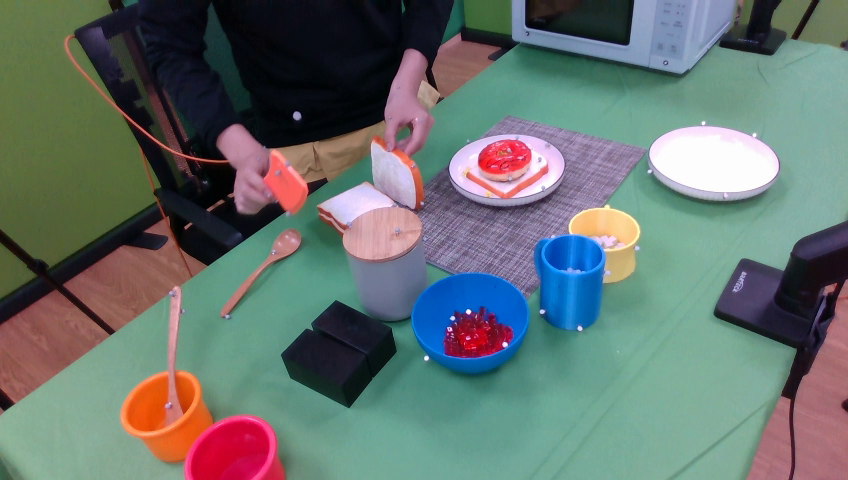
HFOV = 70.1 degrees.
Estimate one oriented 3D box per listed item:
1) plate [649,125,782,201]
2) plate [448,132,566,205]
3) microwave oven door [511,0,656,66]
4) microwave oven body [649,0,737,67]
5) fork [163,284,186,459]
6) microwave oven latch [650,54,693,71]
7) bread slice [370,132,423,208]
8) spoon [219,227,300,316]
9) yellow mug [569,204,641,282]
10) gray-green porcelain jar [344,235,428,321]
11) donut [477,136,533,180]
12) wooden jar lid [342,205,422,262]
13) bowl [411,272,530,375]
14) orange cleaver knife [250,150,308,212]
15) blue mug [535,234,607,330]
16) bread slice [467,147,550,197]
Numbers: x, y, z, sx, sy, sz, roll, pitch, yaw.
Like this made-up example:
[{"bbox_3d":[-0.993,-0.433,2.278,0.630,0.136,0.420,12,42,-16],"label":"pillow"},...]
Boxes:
[{"bbox_3d":[0.493,-0.127,1.036,0.207,0.039,0.206,-4,41,4],"label":"plate"},{"bbox_3d":[0.147,-0.124,1.075,0.209,0.038,0.208,-4,41,4],"label":"plate"},{"bbox_3d":[0.351,-0.539,1.348,0.353,0.245,0.039,24,50,31],"label":"microwave oven door"},{"bbox_3d":[0.475,-0.602,1.411,0.438,0.261,0.327,23,50,32],"label":"microwave oven body"},{"bbox_3d":[-0.302,0.157,0.733,0.028,0.019,0.207,-3,84,15],"label":"fork"},{"bbox_3d":[0.531,-0.386,1.301,0.078,0.029,0.030,26,51,33],"label":"microwave oven latch"},{"bbox_3d":[-0.048,-0.113,1.048,0.018,0.107,0.133,-29,48,-27],"label":"bread slice"},{"bbox_3d":[-0.261,0.046,0.954,0.041,0.021,0.194,27,48,10],"label":"spoon"},{"bbox_3d":[0.268,-0.005,0.904,0.099,0.064,0.130,7,41,15],"label":"yellow mug"},{"bbox_3d":[-0.049,0.042,0.849,0.106,0.127,0.105,-4,41,4],"label":"gray-green porcelain jar"},{"bbox_3d":[0.141,-0.145,1.058,0.099,0.048,0.098,-6,41,6],"label":"donut"},{"bbox_3d":[-0.055,-0.006,0.808,0.108,0.021,0.108,-6,41,6],"label":"wooden jar lid"},{"bbox_3d":[0.061,0.120,0.780,0.151,0.077,0.150,-4,40,4],"label":"bowl"},{"bbox_3d":[-0.202,-0.071,0.831,0.012,0.077,0.210,-41,11,-24],"label":"orange cleaver knife"},{"bbox_3d":[0.191,0.048,0.824,0.082,0.106,0.115,-26,44,-20],"label":"blue mug"},{"bbox_3d":[0.157,-0.128,1.084,0.132,0.019,0.104,-35,48,-24],"label":"bread slice"}]
